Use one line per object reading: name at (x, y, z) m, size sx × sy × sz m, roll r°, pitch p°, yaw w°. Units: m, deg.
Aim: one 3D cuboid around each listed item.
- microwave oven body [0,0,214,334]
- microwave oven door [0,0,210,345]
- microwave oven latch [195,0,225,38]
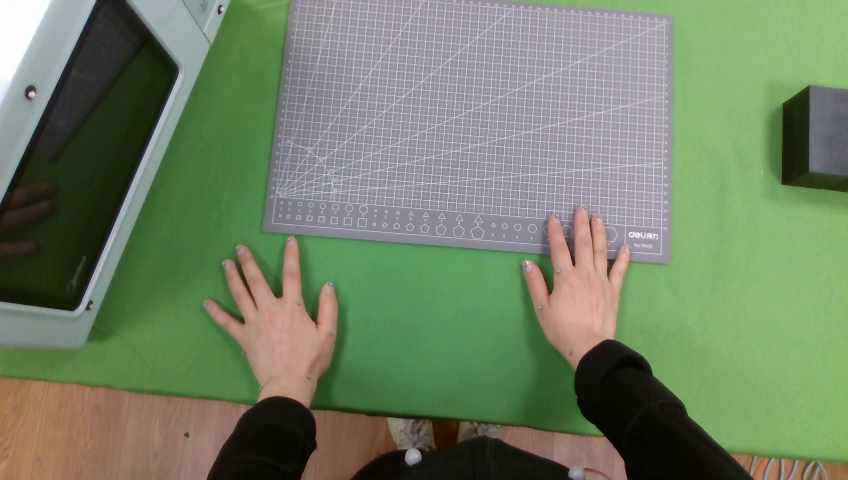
microwave oven body at (-0.433, -0.167, 0.549) m, size 0.326 × 0.261 × 0.440 m, roll 18°, pitch 81°, yaw 1°
microwave oven door at (-0.308, -0.082, 0.533) m, size 0.039 × 0.244 × 0.354 m, roll 18°, pitch 80°, yaw 2°
microwave oven latch at (-0.239, -0.267, 0.670) m, size 0.030 × 0.029 × 0.079 m, roll 20°, pitch 81°, yaw 1°
